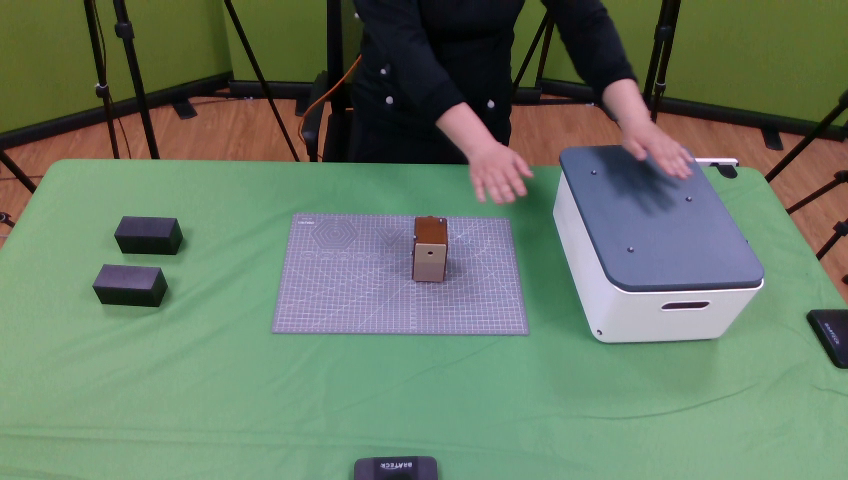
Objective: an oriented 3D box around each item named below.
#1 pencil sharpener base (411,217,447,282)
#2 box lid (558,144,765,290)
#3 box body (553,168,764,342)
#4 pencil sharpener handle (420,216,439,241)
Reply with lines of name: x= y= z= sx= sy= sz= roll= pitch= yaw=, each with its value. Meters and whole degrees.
pencil sharpener base: x=0.009 y=0.017 z=1.118 sx=0.061 sy=0.107 sz=0.076 roll=2 pitch=45 yaw=-2
box lid: x=0.404 y=-0.054 z=1.073 sx=0.263 sy=0.015 sz=0.369 roll=-2 pitch=45 yaw=-5
box body: x=0.403 y=0.006 z=1.125 sx=0.254 sy=0.161 sz=0.361 roll=-2 pitch=46 yaw=-5
pencil sharpener handle: x=0.005 y=-0.028 z=1.144 sx=0.036 sy=0.068 sz=0.030 roll=11 pitch=44 yaw=-12
